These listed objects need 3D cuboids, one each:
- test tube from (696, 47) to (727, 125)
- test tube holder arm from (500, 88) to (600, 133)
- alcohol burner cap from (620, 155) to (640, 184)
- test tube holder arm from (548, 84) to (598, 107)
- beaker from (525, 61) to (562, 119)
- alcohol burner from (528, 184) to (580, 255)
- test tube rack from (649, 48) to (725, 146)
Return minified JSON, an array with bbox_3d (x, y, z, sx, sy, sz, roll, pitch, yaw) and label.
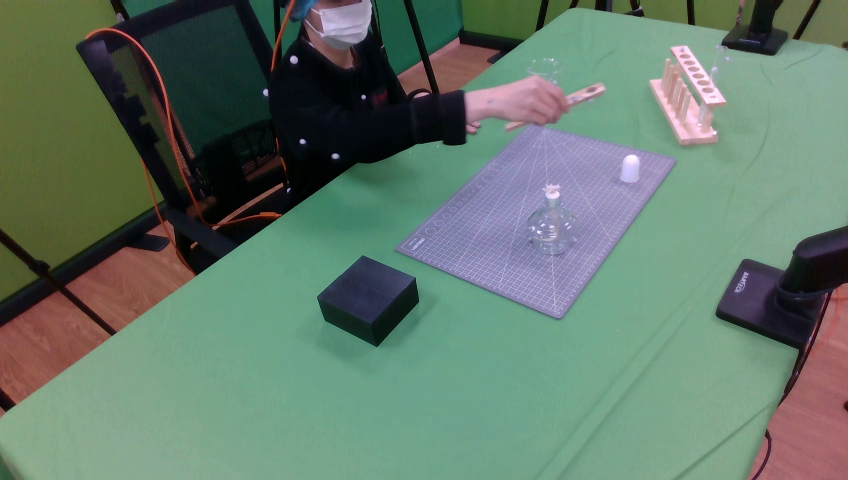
[{"bbox_3d":[0.519,-0.276,1.094,0.017,0.151,0.017,-1,42,2],"label":"test tube"},{"bbox_3d":[0.204,-0.209,0.973,0.179,0.015,0.013,-24,72,-10],"label":"test tube holder arm"},{"bbox_3d":[0.358,-0.124,1.047,0.034,0.048,0.033,-4,40,4],"label":"alcohol burner cap"},{"bbox_3d":[0.242,-0.232,0.982,0.088,0.015,0.010,-24,72,-10],"label":"test tube holder arm"},{"bbox_3d":[0.248,-0.308,1.246,0.073,0.101,0.084,29,52,36],"label":"beaker"},{"bbox_3d":[0.196,-0.036,0.911,0.078,0.119,0.077,-6,41,5],"label":"alcohol burner"},{"bbox_3d":[0.508,-0.285,1.186,0.067,0.085,0.241,-4,40,6],"label":"test tube rack"}]
